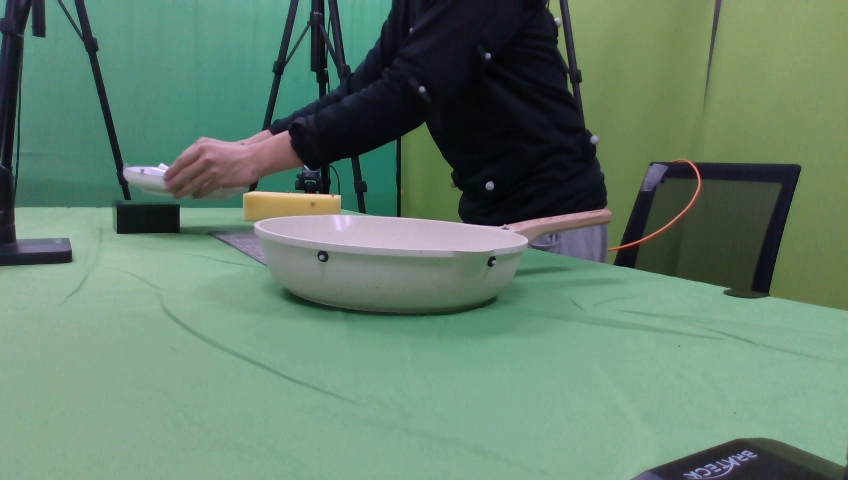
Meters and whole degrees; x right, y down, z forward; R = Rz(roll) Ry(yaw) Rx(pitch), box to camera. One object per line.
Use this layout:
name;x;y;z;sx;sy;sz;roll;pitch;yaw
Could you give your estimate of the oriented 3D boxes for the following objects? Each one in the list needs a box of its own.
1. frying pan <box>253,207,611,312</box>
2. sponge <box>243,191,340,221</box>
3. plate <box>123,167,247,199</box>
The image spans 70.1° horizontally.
frying pan;0.052;-0.001;0.715;0.490;0.102;0.305;-11;15;-31
sponge;-0.298;-0.077;1.388;0.207;0.061;0.118;1;8;-8
plate;-0.430;-0.103;1.097;0.208;0.039;0.207;6;9;-1
